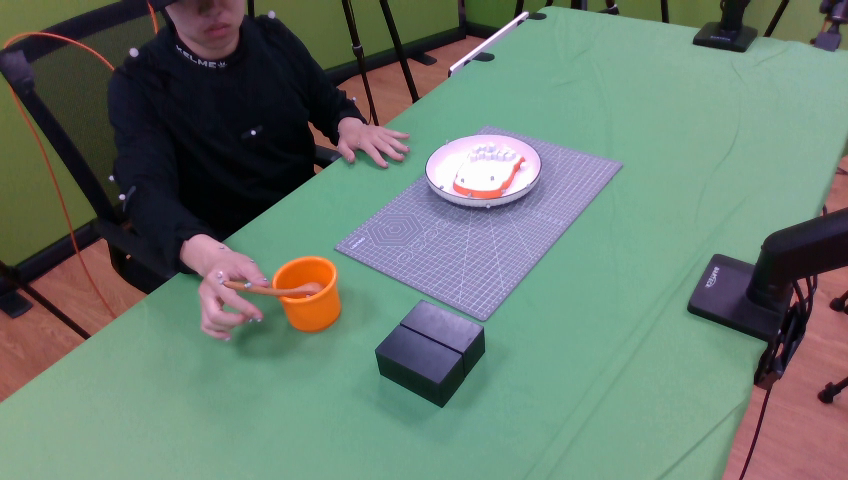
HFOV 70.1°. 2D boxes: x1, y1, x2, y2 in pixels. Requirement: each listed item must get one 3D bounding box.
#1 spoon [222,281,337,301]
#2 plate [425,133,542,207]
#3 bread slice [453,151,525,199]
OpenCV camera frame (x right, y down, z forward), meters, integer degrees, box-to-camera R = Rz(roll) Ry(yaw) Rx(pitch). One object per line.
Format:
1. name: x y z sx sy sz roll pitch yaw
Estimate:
1. spoon: -0.187 0.069 0.811 0.041 0.021 0.195 33 15 34
2. plate: 0.106 -0.121 1.079 0.209 0.038 0.208 -4 41 4
3. bread slice: 0.112 -0.118 1.079 0.104 0.019 0.131 11 42 21
